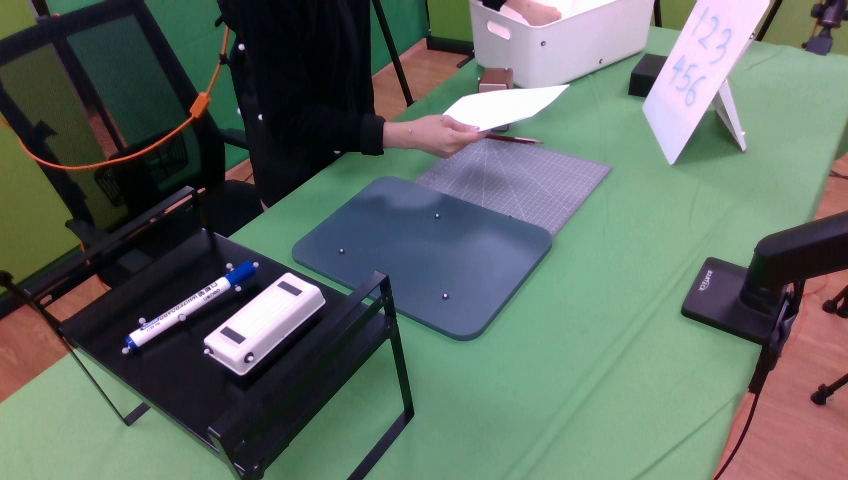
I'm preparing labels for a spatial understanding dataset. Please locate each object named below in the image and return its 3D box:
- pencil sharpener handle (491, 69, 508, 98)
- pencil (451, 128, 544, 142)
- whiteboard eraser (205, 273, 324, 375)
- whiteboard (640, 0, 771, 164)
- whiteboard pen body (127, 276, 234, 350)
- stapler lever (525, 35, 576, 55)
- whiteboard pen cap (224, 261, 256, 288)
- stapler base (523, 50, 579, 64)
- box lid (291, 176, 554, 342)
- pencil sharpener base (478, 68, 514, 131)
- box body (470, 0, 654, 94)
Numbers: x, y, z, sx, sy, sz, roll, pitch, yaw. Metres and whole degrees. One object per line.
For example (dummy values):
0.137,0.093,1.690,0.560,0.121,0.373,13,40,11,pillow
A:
0.155,-0.329,1.254,0.036,0.068,0.030,17,43,4,pencil sharpener handle
0.145,-0.208,1.204,0.193,0.012,0.012,10,43,21,pencil
-0.157,0.084,0.605,0.055,0.042,0.113,24,49,30,whiteboard eraser
0.543,-0.299,1.076,0.144,0.305,0.216,12,40,-7,whiteboard
-0.251,0.070,0.649,0.141,0.017,0.017,-36,48,-26,whiteboard pen body
0.296,-0.457,1.418,0.117,0.040,0.027,4,37,17,stapler lever
-0.207,0.039,0.677,0.033,0.018,0.018,-36,47,-18,whiteboard pen cap
0.301,-0.437,1.434,0.130,0.024,0.041,4,37,16,stapler base
-0.005,0.011,0.972,0.368,0.015,0.264,21,49,30,box lid
0.148,-0.286,1.225,0.061,0.107,0.076,5,41,15,pencil sharpener base
0.319,-0.498,1.405,0.365,0.161,0.252,-26,43,-21,box body
